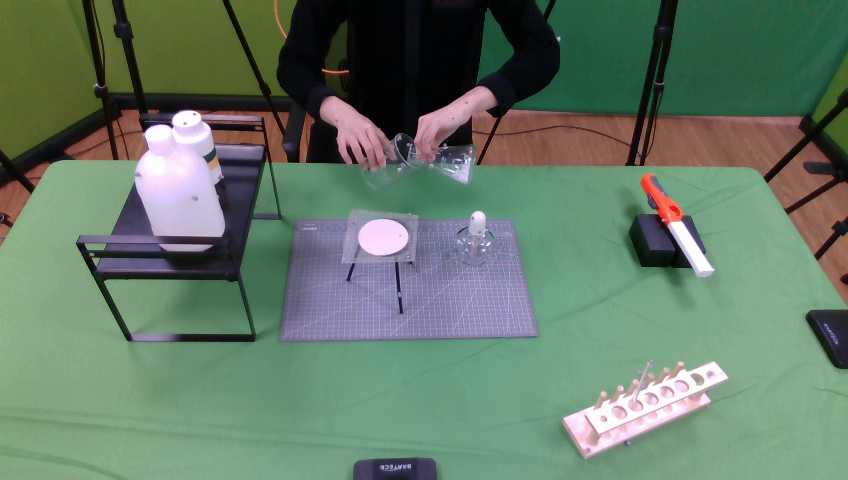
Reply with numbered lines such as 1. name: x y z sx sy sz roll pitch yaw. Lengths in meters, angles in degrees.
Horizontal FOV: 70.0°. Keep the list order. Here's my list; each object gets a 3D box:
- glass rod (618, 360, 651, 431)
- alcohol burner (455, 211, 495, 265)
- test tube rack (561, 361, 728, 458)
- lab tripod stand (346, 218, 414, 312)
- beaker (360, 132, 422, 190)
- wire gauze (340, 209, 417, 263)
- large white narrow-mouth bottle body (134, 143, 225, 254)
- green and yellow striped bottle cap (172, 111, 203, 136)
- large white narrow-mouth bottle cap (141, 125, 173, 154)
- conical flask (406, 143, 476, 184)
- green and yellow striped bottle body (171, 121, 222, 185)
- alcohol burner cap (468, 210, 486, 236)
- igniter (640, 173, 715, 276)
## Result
1. glass rod: 0.298 0.227 0.865 0.008 0.201 0.008 -2 47 2
2. alcohol burner: 0.097 -0.010 1.147 0.078 0.120 0.077 1 47 0
3. test tube rack: 0.341 0.248 0.940 0.243 0.085 0.066 -15 49 -18
4. lab tripod stand: -0.070 0.037 1.075 0.148 0.132 0.147 1 47 -1
5. beaker: -0.063 -0.145 1.140 0.084 0.100 0.073 20 51 -46
6. wire gauze: -0.074 -0.006 1.023 0.121 0.011 0.124 3 46 0
7. large white narrow-mouth bottle body: -0.358 -0.075 0.875 0.102 0.195 0.101 1 47 -1
8. green and yellow striped bottle cap: -0.374 -0.185 0.958 0.045 0.020 0.045 4 46 -4
9. large white narrow-mouth bottle cap: -0.357 -0.134 0.810 0.038 0.024 0.037 1 47 -1
10. conical flask: 0.031 -0.148 1.111 0.122 0.075 0.075 11 47 7
11. green and yellow striped bottle body: -0.375 -0.149 0.995 0.063 0.120 0.063 2 46 -2
12. alcohol burner cap: 0.099 -0.034 1.119 0.034 0.048 0.033 0 53 0
13. igniter: 0.495 -0.039 1.204 0.057 0.025 0.274 -2 47 -13
